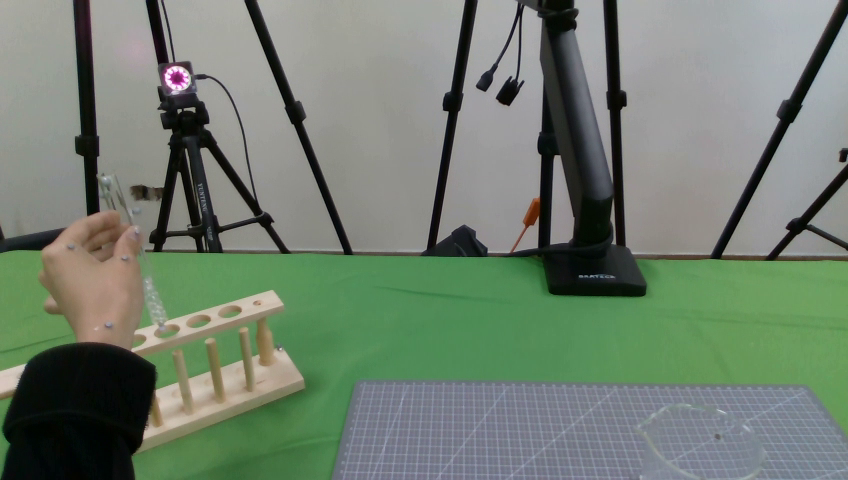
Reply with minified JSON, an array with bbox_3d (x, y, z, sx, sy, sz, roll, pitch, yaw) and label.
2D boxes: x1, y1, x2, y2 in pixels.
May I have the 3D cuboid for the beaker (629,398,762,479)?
[{"bbox_3d":[0.184,0.174,0.431,0.083,0.101,0.074,11,29,24],"label":"beaker"}]

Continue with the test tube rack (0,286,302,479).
[{"bbox_3d":[-0.245,0.127,0.564,0.243,0.086,0.066,-16,31,-27],"label":"test tube rack"}]

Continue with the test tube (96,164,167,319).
[{"bbox_3d":[-0.249,0.006,0.522,0.017,0.151,0.017,-4,30,2],"label":"test tube"}]
